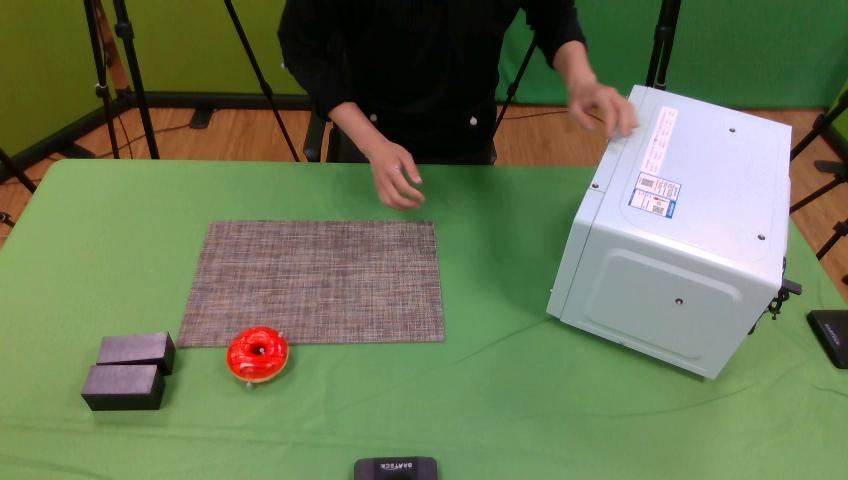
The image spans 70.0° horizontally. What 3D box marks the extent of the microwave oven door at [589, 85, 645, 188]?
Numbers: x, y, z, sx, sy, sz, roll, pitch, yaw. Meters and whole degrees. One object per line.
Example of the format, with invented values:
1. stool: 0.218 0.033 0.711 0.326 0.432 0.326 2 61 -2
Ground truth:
1. microwave oven door: 0.342 -0.107 1.149 0.039 0.245 0.354 20 48 15

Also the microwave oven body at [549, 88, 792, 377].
1. microwave oven body: 0.456 -0.028 1.088 0.325 0.261 0.440 20 47 16

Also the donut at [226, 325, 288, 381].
1. donut: -0.270 0.182 0.984 0.099 0.048 0.098 5 49 -5

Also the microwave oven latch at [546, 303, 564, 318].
1. microwave oven latch: 0.242 0.102 1.081 0.030 0.029 0.079 22 48 17
